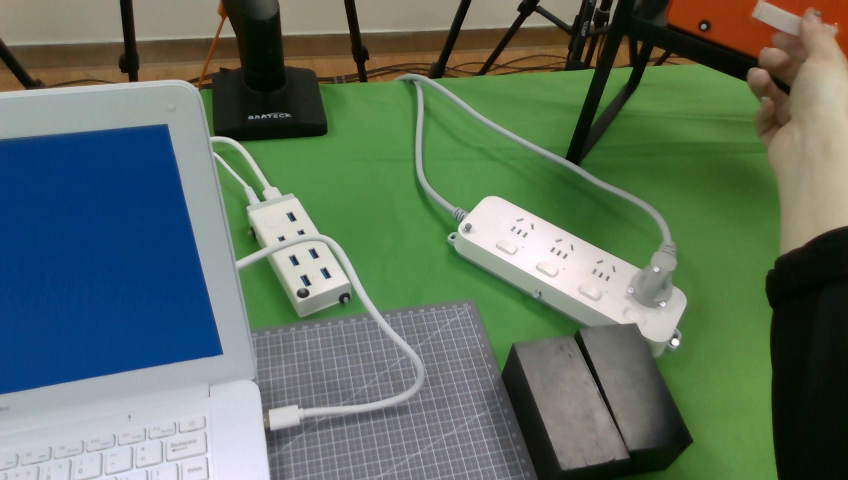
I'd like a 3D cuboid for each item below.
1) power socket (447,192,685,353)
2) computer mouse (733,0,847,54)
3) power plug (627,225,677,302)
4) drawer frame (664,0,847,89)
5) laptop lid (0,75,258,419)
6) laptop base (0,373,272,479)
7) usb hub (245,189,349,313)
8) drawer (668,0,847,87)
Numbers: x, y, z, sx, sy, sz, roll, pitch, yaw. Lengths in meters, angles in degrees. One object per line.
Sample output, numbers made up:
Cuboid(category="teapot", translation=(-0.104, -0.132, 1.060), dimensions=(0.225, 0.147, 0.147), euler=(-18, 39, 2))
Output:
Cuboid(category="power socket", translation=(0.130, 0.025, 0.558), dimensions=(0.225, 0.033, 0.072), euler=(29, 51, 19))
Cuboid(category="computer mouse", translation=(0.328, -0.209, 0.536), dimensions=(0.063, 0.041, 0.116), euler=(-11, 56, -20))
Cuboid(category="power plug", translation=(0.209, 0.028, 0.535), dimensions=(0.072, 0.053, 0.035), euler=(-35, 60, -30))
Cuboid(category="drawer frame", translation=(0.352, -0.236, 0.544), dimensions=(0.200, 0.083, 0.213), euler=(28, 50, 18))
Cuboid(category="laptop lid", translation=(-0.292, 0.031, 0.349), dimensions=(0.357, 0.244, 0.013), euler=(-10, 37, -14))
Cuboid(category="laptop base", translation=(-0.262, 0.214, 0.346), dimensions=(0.355, 0.023, 0.233), euler=(-9, 54, -14))
Cuboid(category="usb hub", translation=(-0.117, 0.007, 0.546), dimensions=(0.049, 0.025, 0.124), euler=(-21, 54, -24))
Cuboid(category="drawer", translation=(0.351, -0.232, 0.544), dimensions=(0.193, 0.074, 0.211), euler=(29, 50, 18))
